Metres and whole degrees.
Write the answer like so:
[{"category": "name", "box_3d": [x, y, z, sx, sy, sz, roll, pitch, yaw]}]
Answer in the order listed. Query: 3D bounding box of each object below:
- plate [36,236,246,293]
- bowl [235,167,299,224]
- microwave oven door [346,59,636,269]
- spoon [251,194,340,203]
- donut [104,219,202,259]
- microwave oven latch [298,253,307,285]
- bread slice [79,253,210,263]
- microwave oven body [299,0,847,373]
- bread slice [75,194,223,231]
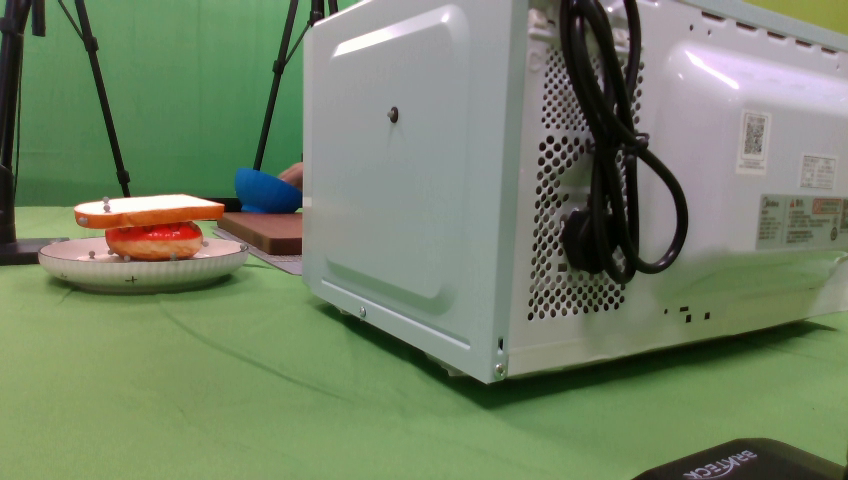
[{"category": "plate", "box_3d": [-0.305, 0.026, 0.668, 0.208, 0.039, 0.207, 2, 7, 0]}, {"category": "bowl", "box_3d": [-0.333, -0.084, 1.264, 0.151, 0.077, 0.151, 18, -13, 5]}, {"category": "microwave oven door", "box_3d": [0.086, -0.089, 0.750, 0.357, 0.243, 0.039, 1, 8, -10]}, {"category": "spoon", "box_3d": [-0.279, -0.094, 1.328, 0.195, 0.021, 0.041, -3, 6, -24]}, {"category": "donut", "box_3d": [-0.298, -0.003, 0.669, 0.099, 0.048, 0.099, 3, 1, 0]}, {"category": "microwave oven latch", "box_3d": [-0.081, 0.027, 0.582, 0.079, 0.029, 0.030, -1, 7, -32]}, {"category": "bread slice", "box_3d": [-0.302, 0.027, 0.662, 0.132, 0.019, 0.104, -4, 8, -45]}, {"category": "microwave oven body", "box_3d": [0.151, -0.055, 0.542, 0.444, 0.260, 0.324, -2, 7, -33]}, {"category": "bread slice", "box_3d": [-0.302, -0.032, 0.659, 0.106, 0.018, 0.135, 10, 17, 41]}]
